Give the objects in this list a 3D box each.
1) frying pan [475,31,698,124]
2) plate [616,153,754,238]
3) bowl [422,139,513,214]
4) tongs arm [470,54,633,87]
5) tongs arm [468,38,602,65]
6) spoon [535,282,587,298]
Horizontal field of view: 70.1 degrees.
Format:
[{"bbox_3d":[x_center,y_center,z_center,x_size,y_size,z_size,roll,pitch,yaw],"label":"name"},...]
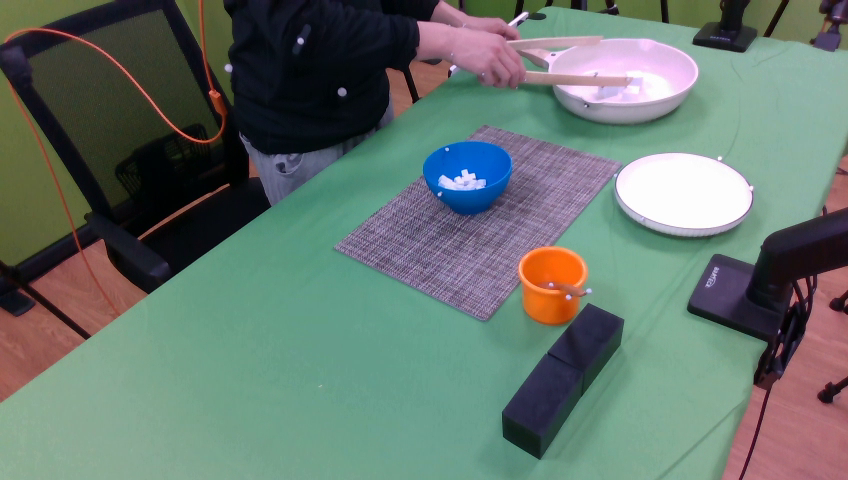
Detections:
[{"bbox_3d":[0.320,-0.371,1.290,0.485,0.103,0.307,28,50,23],"label":"frying pan"},{"bbox_3d":[0.416,-0.069,0.977,0.207,0.039,0.206,-4,40,4],"label":"plate"},{"bbox_3d":[0.075,-0.097,1.021,0.151,0.077,0.150,-4,41,4],"label":"bowl"},{"bbox_3d":[0.250,-0.314,1.127,0.388,0.026,0.050,-9,62,-34],"label":"tongs arm"},{"bbox_3d":[0.222,-0.365,1.152,0.390,0.027,0.028,-18,71,-38],"label":"tongs arm"},{"bbox_3d":[0.176,0.063,0.774,0.041,0.194,0.021,-2,85,1],"label":"spoon"}]
